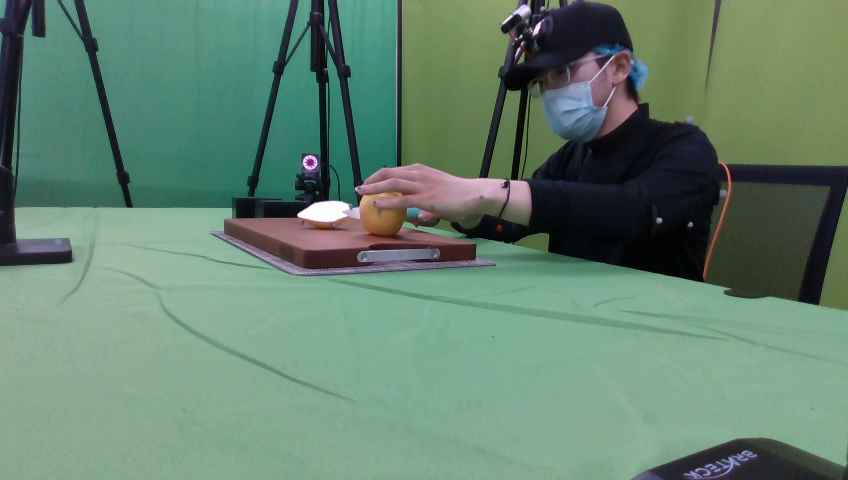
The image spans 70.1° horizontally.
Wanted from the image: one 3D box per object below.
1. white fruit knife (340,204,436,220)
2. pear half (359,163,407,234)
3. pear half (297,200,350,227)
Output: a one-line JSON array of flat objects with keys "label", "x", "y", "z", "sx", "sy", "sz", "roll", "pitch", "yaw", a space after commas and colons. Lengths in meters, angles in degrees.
[{"label": "white fruit knife", "x": -0.053, "y": -0.046, "z": 0.984, "sx": 0.016, "sy": 0.027, "sz": 0.208, "roll": 4, "pitch": 4, "yaw": 44}, {"label": "pear half", "x": -0.056, "y": -0.063, "z": 0.924, "sx": 0.055, "sy": 0.110, "sz": 0.077, "roll": 10, "pitch": 13, "yaw": 41}, {"label": "pear half", "x": -0.163, "y": -0.038, "z": 0.996, "sx": 0.088, "sy": 0.031, "sz": 0.070, "roll": -14, "pitch": 26, "yaw": -14}]
